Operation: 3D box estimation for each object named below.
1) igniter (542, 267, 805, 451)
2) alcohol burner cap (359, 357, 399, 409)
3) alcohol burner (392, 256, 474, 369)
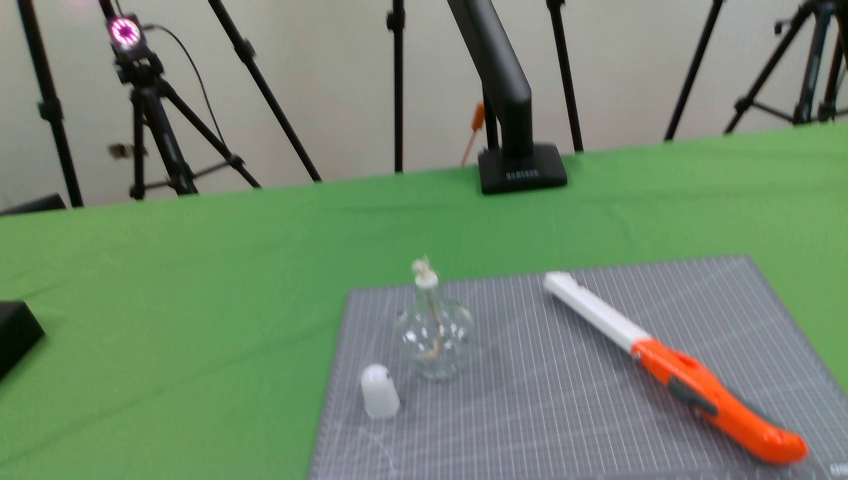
[{"bbox_3d":[0.204,0.093,0.546,0.057,0.025,0.273,-2,25,-31],"label":"igniter"},{"bbox_3d":[-0.042,0.126,0.547,0.034,0.048,0.033,-6,35,5],"label":"alcohol burner cap"},{"bbox_3d":[0.007,0.063,0.564,0.078,0.120,0.077,-5,36,4],"label":"alcohol burner"}]
